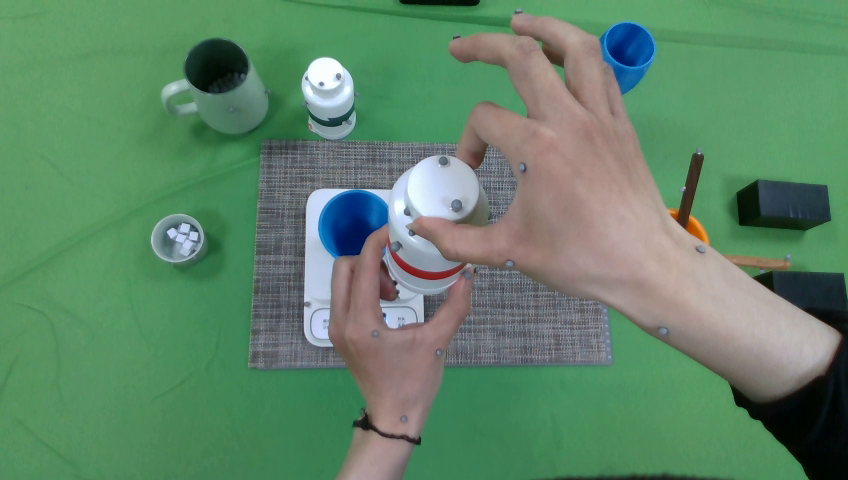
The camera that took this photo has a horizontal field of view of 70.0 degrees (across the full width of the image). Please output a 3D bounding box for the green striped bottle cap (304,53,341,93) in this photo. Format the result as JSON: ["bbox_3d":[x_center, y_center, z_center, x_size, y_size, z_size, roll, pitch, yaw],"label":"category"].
[{"bbox_3d":[-0.121,-0.199,0.721,0.044,0.020,0.044,1,75,-5],"label":"green striped bottle cap"}]

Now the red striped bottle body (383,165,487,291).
[{"bbox_3d":[0.005,-0.011,0.401,0.063,0.120,0.062,2,69,-5],"label":"red striped bottle body"}]

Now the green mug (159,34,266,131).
[{"bbox_3d":[-0.269,-0.192,0.768,0.125,0.105,0.092,-22,79,-9],"label":"green mug"}]

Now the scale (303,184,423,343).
[{"bbox_3d":[-0.078,0.027,0.766,0.149,0.031,0.200,-1,77,-5],"label":"scale"}]

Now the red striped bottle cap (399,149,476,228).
[{"bbox_3d":[0.008,-0.030,0.350,0.044,0.018,0.044,3,72,-7],"label":"red striped bottle cap"}]

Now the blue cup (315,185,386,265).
[{"bbox_3d":[-0.080,-0.009,0.707,0.093,0.100,0.092,1,78,-5],"label":"blue cup"}]

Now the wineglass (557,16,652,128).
[{"bbox_3d":[0.227,-0.210,0.781,0.074,0.173,0.073,1,76,-4],"label":"wineglass"}]

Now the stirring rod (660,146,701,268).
[{"bbox_3d":[0.321,-0.036,0.761,0.014,0.177,0.006,5,35,10],"label":"stirring rod"}]

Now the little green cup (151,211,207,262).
[{"bbox_3d":[-0.301,-0.002,0.752,0.061,0.039,0.061,2,76,-6],"label":"little green cup"}]

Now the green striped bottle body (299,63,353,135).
[{"bbox_3d":[-0.124,-0.186,0.772,0.063,0.119,0.063,1,75,-4],"label":"green striped bottle body"}]

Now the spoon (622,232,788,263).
[{"bbox_3d":[0.340,0.015,0.750,0.022,0.192,0.041,21,79,-44],"label":"spoon"}]
